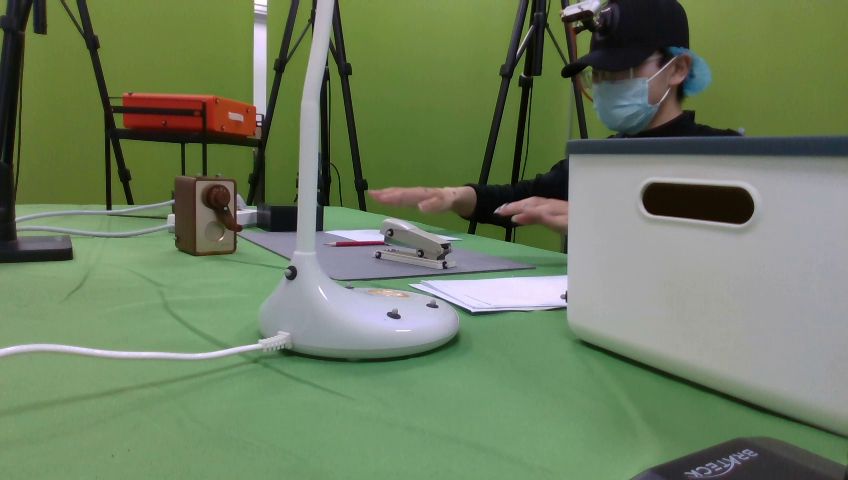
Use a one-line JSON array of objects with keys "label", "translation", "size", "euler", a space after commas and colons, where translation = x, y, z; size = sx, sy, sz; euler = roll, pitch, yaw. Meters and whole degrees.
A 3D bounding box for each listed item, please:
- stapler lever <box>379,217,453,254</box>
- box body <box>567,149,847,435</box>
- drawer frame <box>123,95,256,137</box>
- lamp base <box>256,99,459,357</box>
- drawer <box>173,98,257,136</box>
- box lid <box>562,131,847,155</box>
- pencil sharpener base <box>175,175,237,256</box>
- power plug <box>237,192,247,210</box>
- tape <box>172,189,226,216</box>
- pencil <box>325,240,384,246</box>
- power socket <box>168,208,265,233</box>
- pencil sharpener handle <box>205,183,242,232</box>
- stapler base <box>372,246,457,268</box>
[{"label": "stapler lever", "translation": [-0.014, -0.007, 0.827], "size": [0.117, 0.040, 0.027], "euler": [9, 11, 39]}, {"label": "box body", "translation": [0.318, 0.009, 0.471], "size": [0.366, 0.160, 0.253], "euler": [-2, 8, -31]}, {"label": "drawer frame", "translation": [-0.524, -0.281, 1.376], "size": [0.213, 0.082, 0.202], "euler": [3, 8, 8]}, {"label": "lamp base", "translation": [-0.055, -0.013, 0.463], "size": [0.160, 0.180, 0.180], "euler": [6, 11, 27]}, {"label": "drawer", "translation": [-0.518, -0.279, 1.376], "size": [0.211, 0.073, 0.195], "euler": [3, 8, 9]}, {"label": "box lid", "translation": [0.322, -0.064, 0.463], "size": [0.373, 0.015, 0.262], "euler": [-2, 9, -31]}, {"label": "pencil sharpener base", "translation": [-0.304, -0.036, 0.847], "size": [0.062, 0.107, 0.076], "euler": [-4, 10, -42]}, {"label": "power plug", "translation": [-0.386, -0.071, 1.204], "size": [0.072, 0.052, 0.035], "euler": [7, 9, 26]}, {"label": "tape", "translation": [-0.515, -0.087, 1.388], "size": [0.117, 0.052, 0.117], "euler": [3, 8, 0]}, {"label": "pencil", "translation": [-0.066, 0.003, 0.979], "size": [0.195, 0.012, 0.012], "euler": [-3, 9, -25]}, {"label": "power socket", "translation": [-0.381, -0.038, 1.129], "size": [0.072, 0.032, 0.227], "euler": [4, 8, 17]}, {"label": "pencil sharpener handle", "translation": [-0.265, -0.043, 0.812], "size": [0.036, 0.068, 0.030], "euler": [-31, 27, -35]}, {"label": "stapler base", "translation": [-0.016, 0.017, 0.831], "size": [0.130, 0.024, 0.041], "euler": [10, 12, 39]}]
